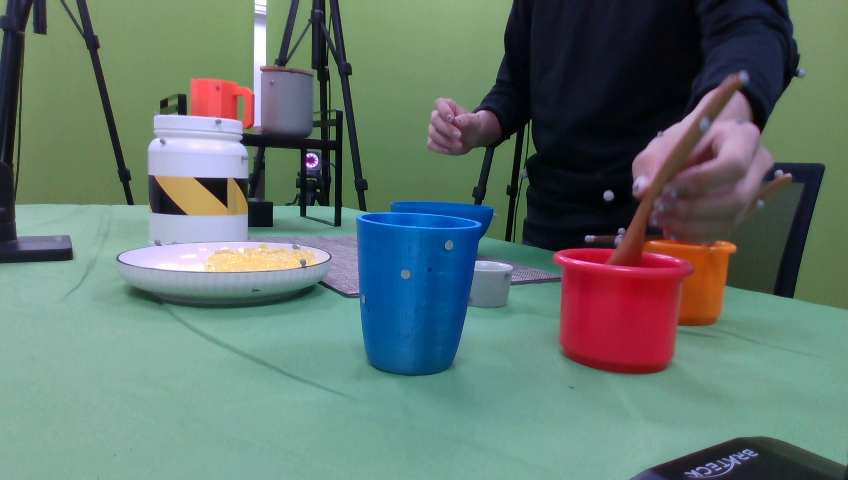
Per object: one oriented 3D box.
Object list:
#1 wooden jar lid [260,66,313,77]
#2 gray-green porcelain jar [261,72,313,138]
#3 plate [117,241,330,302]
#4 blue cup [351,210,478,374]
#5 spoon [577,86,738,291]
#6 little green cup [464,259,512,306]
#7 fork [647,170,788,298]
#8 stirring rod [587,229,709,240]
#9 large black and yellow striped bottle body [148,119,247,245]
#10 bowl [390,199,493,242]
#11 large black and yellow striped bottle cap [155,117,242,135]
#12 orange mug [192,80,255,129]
[{"bbox_3d":[-0.283,-0.339,1.244,0.108,0.020,0.108,6,8,-1],"label":"wooden jar lid"},{"bbox_3d":[-0.284,-0.277,1.253,0.106,0.126,0.106,2,8,0],"label":"gray-green porcelain jar"},{"bbox_3d":[-0.203,0.031,0.630,0.209,0.038,0.209,3,7,0],"label":"plate"},{"bbox_3d":[-0.009,0.034,0.414,0.093,0.100,0.092,4,8,0],"label":"blue cup"},{"bbox_3d":[0.151,-0.023,0.409,0.042,0.193,0.021,-11,49,-24],"label":"spoon"},{"bbox_3d":[0.057,0.043,0.612,0.061,0.038,0.061,3,7,0],"label":"little green cup"},{"bbox_3d":[0.256,0.004,0.543,0.028,0.018,0.207,2,-37,-10],"label":"fork"},{"bbox_3d":[0.226,-0.006,0.587,0.177,0.006,0.014,-2,10,-29],"label":"stirring rod"},{"bbox_3d":[-0.318,-0.076,0.855,0.131,0.184,0.130,2,7,0],"label":"large black and yellow striped bottle body"},{"bbox_3d":[0.023,-0.016,0.874,0.151,0.077,0.151,2,8,0],"label":"bowl"},{"bbox_3d":[-0.313,-0.159,0.845,0.115,0.019,0.115,3,9,0],"label":"large black and yellow striped bottle cap"},{"bbox_3d":[-0.389,-0.257,1.172,0.126,0.100,0.083,0,6,9],"label":"orange mug"}]
